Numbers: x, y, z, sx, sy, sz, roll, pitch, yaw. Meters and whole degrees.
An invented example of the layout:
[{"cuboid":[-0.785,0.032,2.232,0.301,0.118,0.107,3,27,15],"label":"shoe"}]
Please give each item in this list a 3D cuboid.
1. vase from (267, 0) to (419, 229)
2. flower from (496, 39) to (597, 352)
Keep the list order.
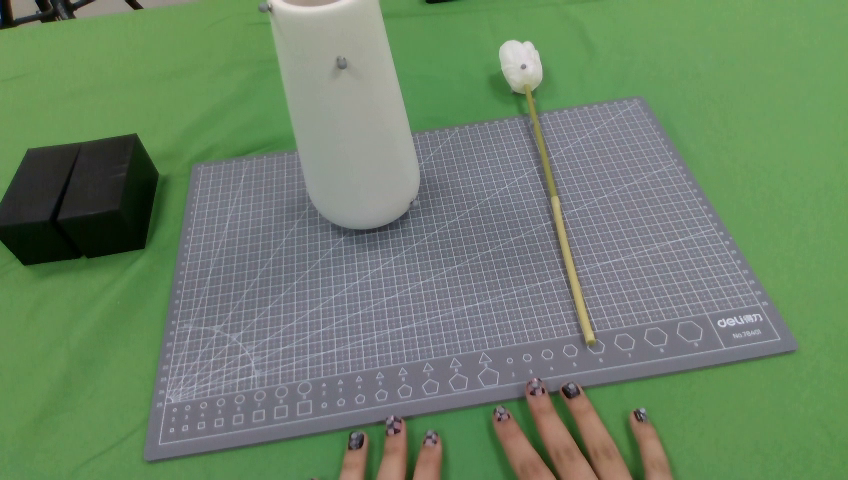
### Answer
[{"cuboid":[-0.061,-0.101,0.468,0.098,0.202,0.097,-4,48,5],"label":"vase"},{"cuboid":[0.109,-0.063,0.545,0.044,0.038,0.358,18,48,-28],"label":"flower"}]
